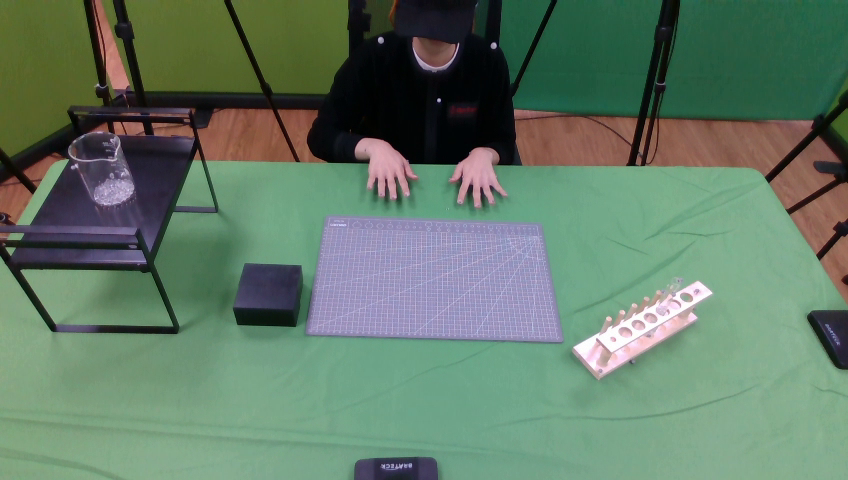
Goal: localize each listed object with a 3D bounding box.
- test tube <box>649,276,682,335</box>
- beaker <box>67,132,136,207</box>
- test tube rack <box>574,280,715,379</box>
[{"bbox_3d":[0.396,0.111,0.999,0.017,0.151,0.017,0,48,0],"label":"test tube"},{"bbox_3d":[-0.504,-0.109,0.961,0.083,0.101,0.074,25,50,19],"label":"beaker"},{"bbox_3d":[0.378,0.140,1.038,0.242,0.085,0.066,-22,51,-23],"label":"test tube rack"}]
